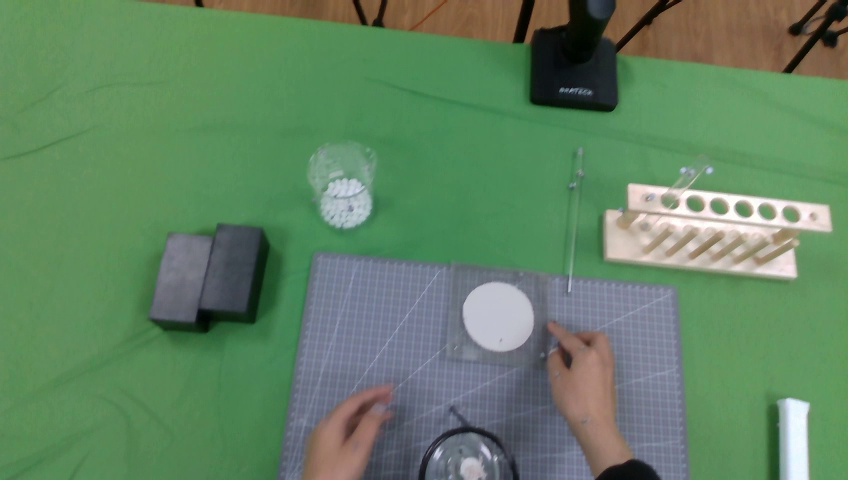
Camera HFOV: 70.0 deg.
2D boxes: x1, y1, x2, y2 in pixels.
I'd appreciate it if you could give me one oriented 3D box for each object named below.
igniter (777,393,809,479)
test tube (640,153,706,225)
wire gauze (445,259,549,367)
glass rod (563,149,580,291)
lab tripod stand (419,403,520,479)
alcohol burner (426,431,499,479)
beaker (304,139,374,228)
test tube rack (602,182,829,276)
[{"bbox_3d":[0.400,0.306,0.655,0.057,0.025,0.275,16,69,-9],"label":"igniter"},{"bbox_3d":[0.283,-0.054,0.698,0.017,0.151,0.017,1,65,-3],"label":"test tube"},{"bbox_3d":[0.087,0.084,0.721,0.125,0.011,0.120,7,66,-3],"label":"wire gauze"},{"bbox_3d":[0.189,-0.029,0.774,0.008,0.008,0.198,10,70,-1],"label":"glass rod"},{"bbox_3d":[0.035,0.227,0.595,0.148,0.132,0.147,1,68,-2],"label":"lab tripod stand"},{"bbox_3d":[0.040,0.224,0.607,0.078,0.119,0.077,2,68,-6],"label":"alcohol burner"},{"bbox_3d":[-0.096,-0.063,0.716,0.084,0.101,0.073,-32,75,-16],"label":"beaker"},{"bbox_3d":[0.351,-0.011,0.740,0.242,0.085,0.066,6,68,-2],"label":"test tube rack"}]
